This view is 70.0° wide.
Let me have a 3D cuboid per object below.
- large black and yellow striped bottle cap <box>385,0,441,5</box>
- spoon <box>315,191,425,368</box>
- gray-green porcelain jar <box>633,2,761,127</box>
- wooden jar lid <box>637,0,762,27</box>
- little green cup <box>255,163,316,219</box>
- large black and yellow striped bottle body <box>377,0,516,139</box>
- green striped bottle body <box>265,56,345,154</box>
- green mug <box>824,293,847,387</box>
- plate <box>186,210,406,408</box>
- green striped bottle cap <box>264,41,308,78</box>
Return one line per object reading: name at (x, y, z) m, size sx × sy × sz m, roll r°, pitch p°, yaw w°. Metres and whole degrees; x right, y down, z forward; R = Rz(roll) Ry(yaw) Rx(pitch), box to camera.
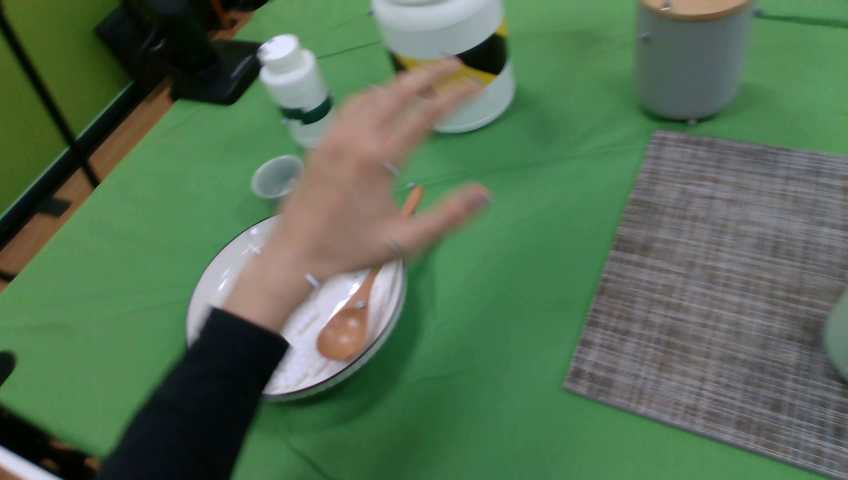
large black and yellow striped bottle cap at (0.006, -0.266, 0.585) m, size 0.115 × 0.019 × 0.114 m, roll -7°, pitch 50°, yaw 9°
spoon at (-0.041, 0.030, 0.548) m, size 0.041 × 0.022 × 0.193 m, roll 16°, pitch 67°, yaw 25°
gray-green porcelain jar at (0.263, -0.185, 0.597) m, size 0.106 × 0.128 × 0.105 m, roll -8°, pitch 51°, yaw 10°
wooden jar lid at (0.250, -0.224, 0.551) m, size 0.108 × 0.021 × 0.107 m, roll -8°, pitch 53°, yaw 11°
little green cup at (-0.149, -0.050, 0.662) m, size 0.061 × 0.039 × 0.061 m, roll -7°, pitch 51°, yaw 9°
large black and yellow striped bottle body at (0.025, -0.216, 0.650) m, size 0.130 × 0.186 × 0.129 m, roll -8°, pitch 51°, yaw 10°
green striped bottle body at (-0.138, -0.162, 0.694) m, size 0.063 × 0.120 × 0.062 m, roll -8°, pitch 50°, yaw 10°
green mug at (0.337, 0.064, 0.388) m, size 0.092 × 0.106 × 0.124 m, roll -40°, pitch 53°, yaw -17°
plate at (-0.114, 0.061, 0.564) m, size 0.209 × 0.038 × 0.207 m, roll -7°, pitch 51°, yaw 10°
green striped bottle cap at (-0.150, -0.194, 0.655) m, size 0.044 × 0.020 × 0.044 m, roll -6°, pitch 54°, yaw 8°
